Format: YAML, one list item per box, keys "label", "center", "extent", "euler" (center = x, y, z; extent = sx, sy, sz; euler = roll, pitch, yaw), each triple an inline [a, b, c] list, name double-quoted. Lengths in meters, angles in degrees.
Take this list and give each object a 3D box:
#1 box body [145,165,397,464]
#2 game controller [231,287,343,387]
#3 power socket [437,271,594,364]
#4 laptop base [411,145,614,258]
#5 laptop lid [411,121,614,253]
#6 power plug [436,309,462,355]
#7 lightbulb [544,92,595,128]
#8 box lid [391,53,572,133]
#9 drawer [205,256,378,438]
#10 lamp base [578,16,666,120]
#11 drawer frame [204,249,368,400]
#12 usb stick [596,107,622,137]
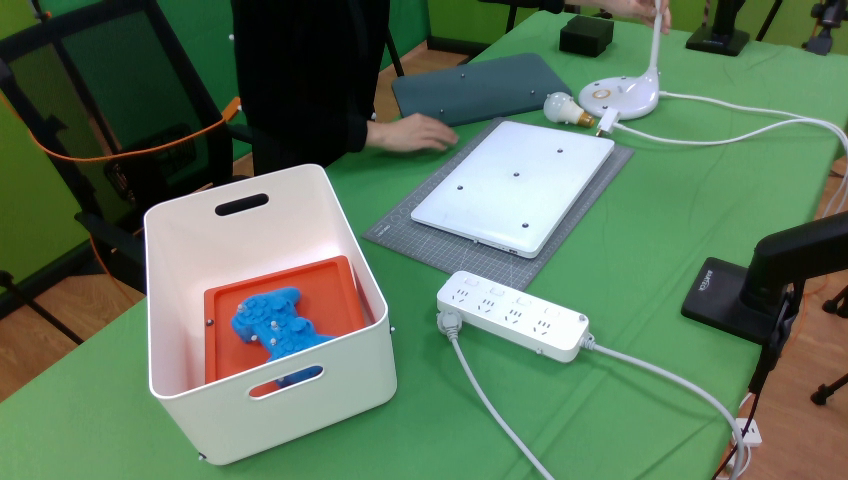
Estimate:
- label: "box body"
  center: [-0.205, 0.080, 0.802]
  extent: [0.255, 0.161, 0.361]
  euler: [-18, 41, -13]
- label: "game controller"
  center: [-0.167, 0.110, 0.734]
  extent: [0.097, 0.052, 0.154]
  euler: [-35, 47, -22]
- label: "power socket"
  center: [0.118, 0.102, 0.830]
  extent: [0.225, 0.033, 0.072]
  euler: [20, 48, 28]
- label: "laptop base"
  center: [0.167, -0.102, 1.075]
  extent: [0.234, 0.023, 0.355]
  euler: [16, 45, 30]
- label: "laptop lid"
  center: [0.164, -0.112, 1.068]
  extent: [0.240, 0.013, 0.357]
  euler: [19, 46, 30]
- label: "power plug"
  center: [0.032, 0.126, 0.810]
  extent: [0.035, 0.053, 0.072]
  euler: [3, 59, 7]
- label: "lightbulb"
  center: [0.293, -0.257, 1.215]
  extent: [0.107, 0.059, 0.059]
  euler: [30, 51, 16]
- label: "box lid"
  center: [0.122, -0.339, 1.366]
  extent: [0.372, 0.015, 0.261]
  euler: [-12, 40, -5]
- label: "drawer"
  center: [-0.177, 0.130, 0.787]
  extent: [0.195, 0.073, 0.210]
  euler: [-14, 39, -9]
- label: "lamp base"
  center: [0.409, -0.356, 1.214]
  extent: [0.179, 0.181, 0.159]
  euler: [-9, 41, -6]
- label: "drawer frame"
  center: [-0.174, 0.129, 0.790]
  extent: [0.202, 0.083, 0.212]
  euler: [-16, 45, -8]
- label: "usb stick"
  center: [0.355, -0.223, 1.168]
  extent: [0.027, 0.059, 0.022]
  euler: [37, 13, 34]
